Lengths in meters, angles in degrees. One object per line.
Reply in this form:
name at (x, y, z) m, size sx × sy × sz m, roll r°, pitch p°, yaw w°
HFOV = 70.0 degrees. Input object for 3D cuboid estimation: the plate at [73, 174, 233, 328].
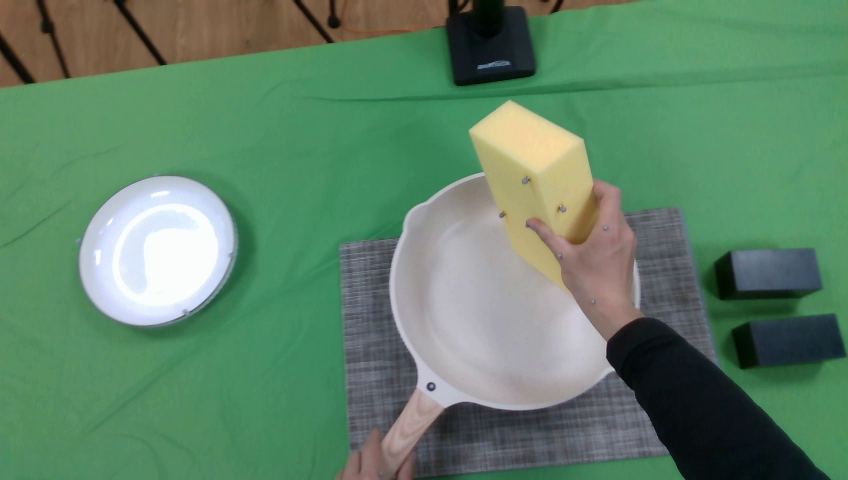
plate at (-0.352, 0.015, 0.801) m, size 0.207 × 0.039 × 0.206 m, roll -1°, pitch 73°, yaw 3°

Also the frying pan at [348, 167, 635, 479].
frying pan at (0.039, 0.128, 0.704) m, size 0.305 × 0.103 × 0.486 m, roll 35°, pitch 69°, yaw 14°

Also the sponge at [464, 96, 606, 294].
sponge at (0.130, -0.047, 0.685) m, size 0.061 × 0.209 × 0.117 m, roll -38°, pitch 45°, yaw -10°
